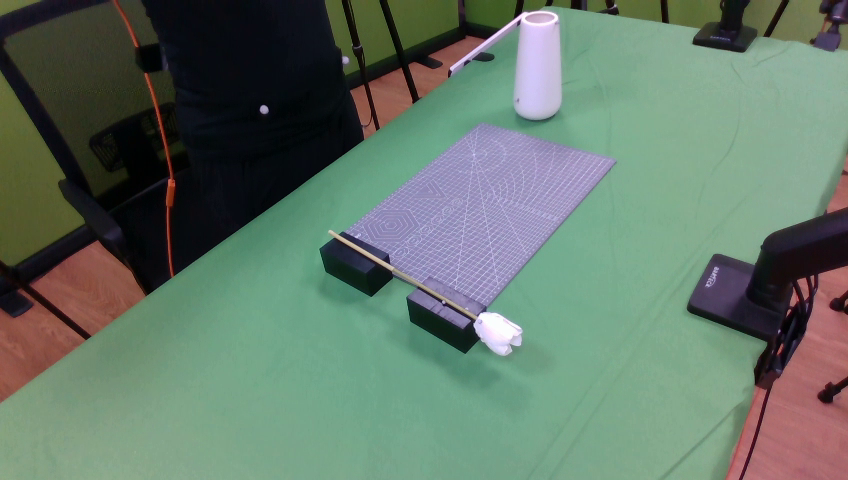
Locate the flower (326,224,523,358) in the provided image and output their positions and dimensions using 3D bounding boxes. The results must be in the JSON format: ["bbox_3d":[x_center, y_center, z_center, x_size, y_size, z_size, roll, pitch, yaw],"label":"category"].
[{"bbox_3d":[-0.018,0.054,0.835,0.359,0.038,0.044,31,84,32],"label":"flower"}]

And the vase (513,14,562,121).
[{"bbox_3d":[0.225,-0.336,1.196,0.098,0.201,0.097,-5,42,5],"label":"vase"}]
